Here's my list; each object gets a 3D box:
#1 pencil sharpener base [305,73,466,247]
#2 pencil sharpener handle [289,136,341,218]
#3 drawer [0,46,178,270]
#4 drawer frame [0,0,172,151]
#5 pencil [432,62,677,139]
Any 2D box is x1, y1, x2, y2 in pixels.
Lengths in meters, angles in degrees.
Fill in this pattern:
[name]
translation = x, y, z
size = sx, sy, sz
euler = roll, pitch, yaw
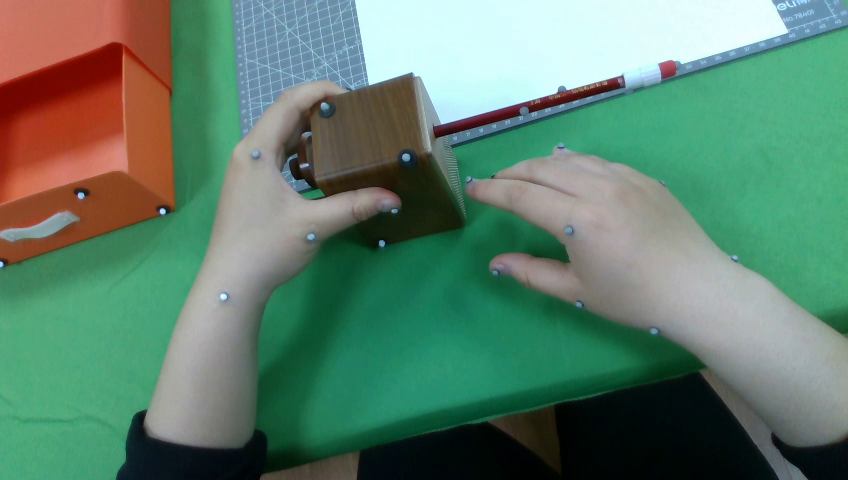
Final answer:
[pencil sharpener base]
translation = -0.022, -0.045, 0.394
size = 0.076, 0.108, 0.061
euler = -14, 66, 11
[pencil sharpener handle]
translation = -0.074, -0.036, 0.392
size = 0.030, 0.068, 0.035
euler = -14, 58, 11
[drawer]
translation = -0.314, -0.096, 0.509
size = 0.194, 0.074, 0.210
euler = -17, 65, 9
[drawer frame]
translation = -0.339, -0.201, 0.555
size = 0.201, 0.083, 0.211
euler = -17, 65, 9
[pencil]
translation = 0.048, -0.074, 0.355
size = 0.194, 0.012, 0.012
euler = -13, 66, 9
